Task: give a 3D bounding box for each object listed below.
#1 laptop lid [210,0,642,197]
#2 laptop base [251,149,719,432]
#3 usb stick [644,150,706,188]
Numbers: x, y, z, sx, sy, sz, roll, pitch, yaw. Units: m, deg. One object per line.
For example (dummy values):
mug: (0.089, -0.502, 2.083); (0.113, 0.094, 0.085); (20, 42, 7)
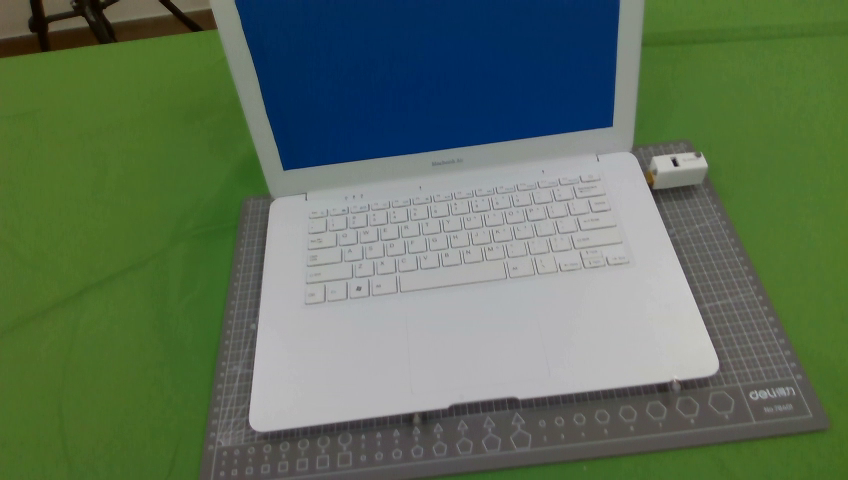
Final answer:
laptop lid: (0.011, -0.157, 0.523); (0.357, 0.244, 0.013); (-9, 35, 2)
laptop base: (0.036, 0.032, 0.520); (0.354, 0.023, 0.233); (-8, 55, 2)
usb stick: (0.222, -0.064, 0.553); (0.059, 0.027, 0.021); (-7, 53, 4)
